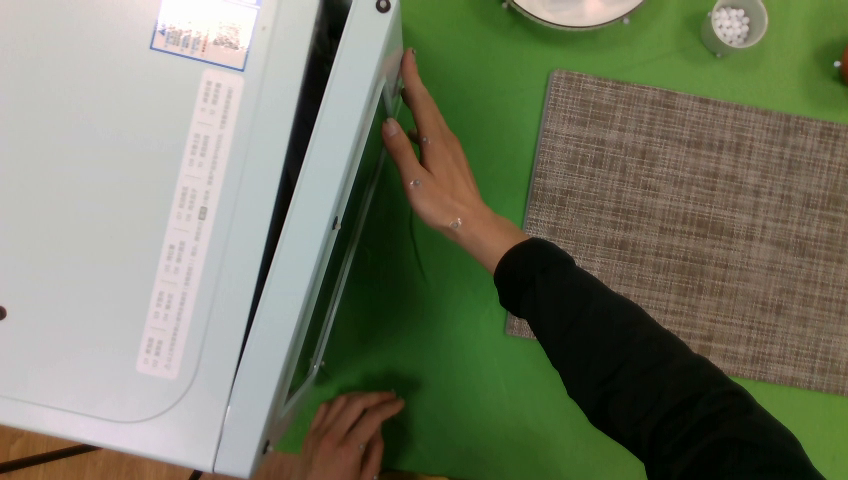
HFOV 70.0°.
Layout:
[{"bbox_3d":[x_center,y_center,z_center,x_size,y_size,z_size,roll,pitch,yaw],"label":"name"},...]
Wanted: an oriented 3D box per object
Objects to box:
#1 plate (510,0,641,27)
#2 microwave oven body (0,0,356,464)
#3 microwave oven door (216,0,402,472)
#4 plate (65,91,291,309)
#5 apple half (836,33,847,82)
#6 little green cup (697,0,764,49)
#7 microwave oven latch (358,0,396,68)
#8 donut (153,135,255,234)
[{"bbox_3d":[0.163,-0.333,0.659,0.208,0.039,0.207,0,91,-2],"label":"plate"},{"bbox_3d":[-0.233,-0.085,0.538,0.326,0.260,0.441,13,91,-2],"label":"microwave oven body"},{"bbox_3d":[-0.089,-0.007,0.539,0.039,0.243,0.355,17,90,-1],"label":"microwave oven door"},{"bbox_3d":[-0.234,-0.038,0.590,0.209,0.038,0.209,0,91,-3],"label":"plate"},{"bbox_3d":[0.480,-0.204,0.654,0.053,0.074,0.081,2,94,3],"label":"apple half"},{"bbox_3d":[0.334,-0.241,0.666,0.061,0.038,0.061,0,90,-1],"label":"little green cup"},{"bbox_3d":[-0.050,-0.225,0.636,0.030,0.029,0.079,15,91,-2],"label":"microwave oven latch"},{"bbox_3d":[-0.212,-0.052,0.585,0.099,0.048,0.099,2,112,6],"label":"donut"}]
